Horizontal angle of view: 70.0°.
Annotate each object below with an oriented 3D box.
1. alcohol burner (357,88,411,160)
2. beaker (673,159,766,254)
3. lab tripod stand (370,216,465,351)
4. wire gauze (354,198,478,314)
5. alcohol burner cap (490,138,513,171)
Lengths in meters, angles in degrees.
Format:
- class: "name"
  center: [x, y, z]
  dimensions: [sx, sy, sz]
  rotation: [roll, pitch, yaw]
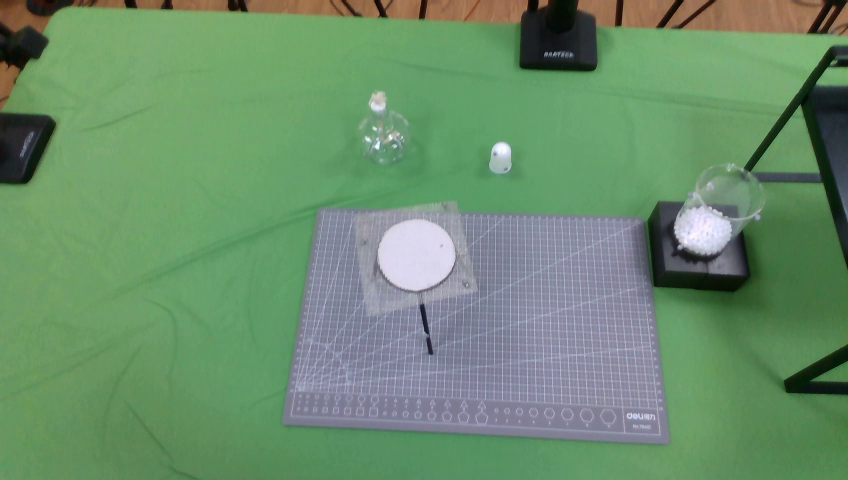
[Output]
- class: "alcohol burner"
  center: [-0.058, -0.166, 0.845]
  dimensions: [0.078, 0.120, 0.077]
  rotation: [-2, 61, 4]
- class: "beaker"
  center: [0.342, -0.036, 0.714]
  dimensions: [0.074, 0.101, 0.083]
  rotation: [11, 63, 9]
- class: "lab tripod stand"
  center: [-0.004, 0.045, 0.722]
  dimensions: [0.148, 0.132, 0.147]
  rotation: [0, 64, 1]
- class: "wire gauze"
  center: [-0.011, 0.013, 0.663]
  dimensions: [0.121, 0.011, 0.124]
  rotation: [-9, 65, -3]
- class: "alcohol burner cap"
  center: [0.111, -0.123, 0.857]
  dimensions: [0.034, 0.048, 0.033]
  rotation: [-2, 64, 5]
